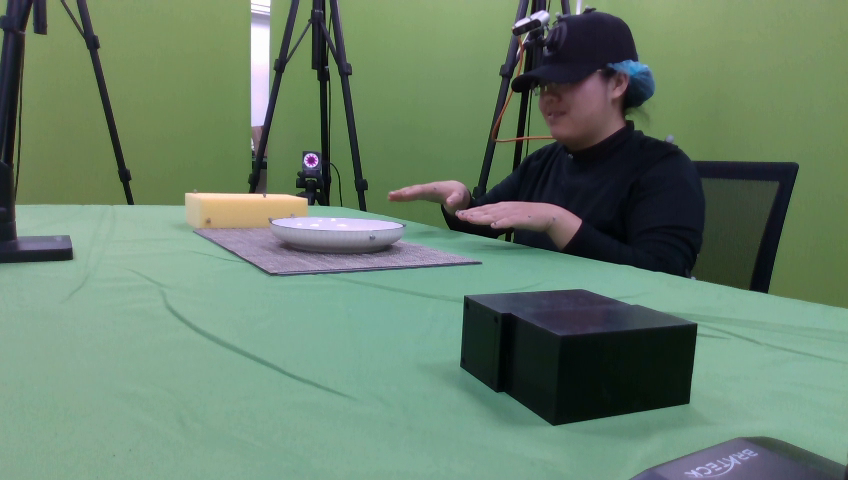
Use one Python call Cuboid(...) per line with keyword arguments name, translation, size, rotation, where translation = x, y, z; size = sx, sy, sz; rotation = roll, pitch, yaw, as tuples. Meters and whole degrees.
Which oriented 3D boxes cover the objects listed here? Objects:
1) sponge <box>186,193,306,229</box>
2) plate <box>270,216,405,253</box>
Cuboid(name="sponge", translation=(-0.350, -0.059, 1.194), size=(0.208, 0.061, 0.117), rotation=(-3, 9, -34))
Cuboid(name="plate", translation=(-0.134, -0.010, 0.946), size=(0.208, 0.039, 0.207), rotation=(3, 7, 0))
